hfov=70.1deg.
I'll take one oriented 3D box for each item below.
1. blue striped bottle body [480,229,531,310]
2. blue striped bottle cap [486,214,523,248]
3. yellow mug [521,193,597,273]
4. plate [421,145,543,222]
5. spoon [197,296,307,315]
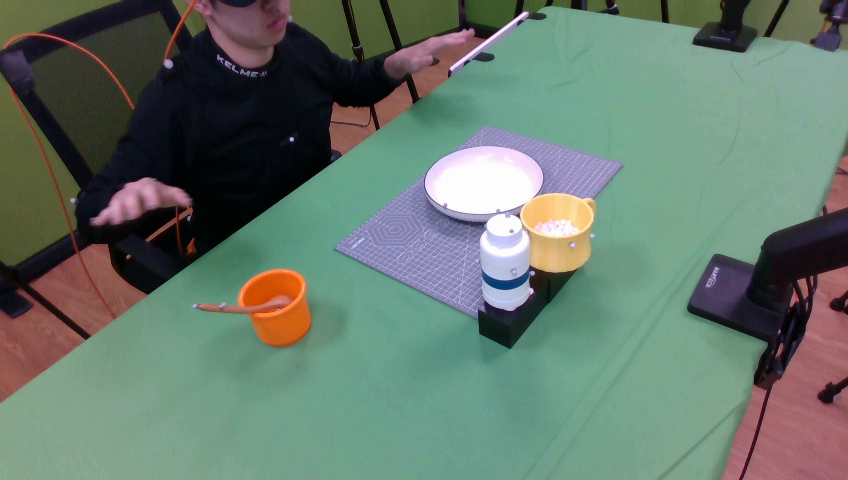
[{"bbox_3d":[0.104,0.027,0.769,0.063,0.121,0.063,-4,40,4],"label":"blue striped bottle body"},{"bbox_3d":[0.098,-0.011,0.735,0.044,0.021,0.044,-3,38,3],"label":"blue striped bottle cap"},{"bbox_3d":[0.198,-0.019,0.852,0.131,0.064,0.099,-30,46,-25],"label":"yellow mug"},{"bbox_3d":[0.101,-0.094,1.048,0.207,0.039,0.206,-4,41,4],"label":"plate"},{"bbox_3d":[-0.220,0.088,0.792,0.041,0.021,0.195,20,7,25],"label":"spoon"}]
